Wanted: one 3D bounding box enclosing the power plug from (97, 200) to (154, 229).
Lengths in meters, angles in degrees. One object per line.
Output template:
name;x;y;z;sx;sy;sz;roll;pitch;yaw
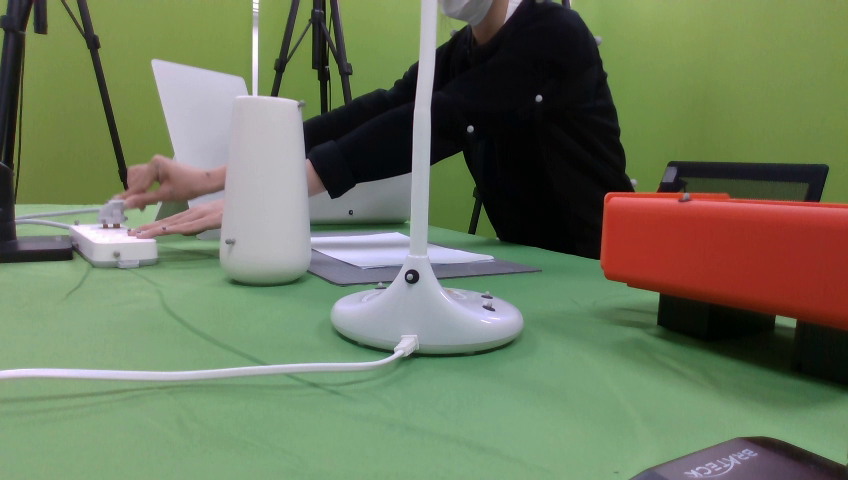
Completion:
power plug;-0.416;-0.029;0.846;0.073;0.052;0.035;-4;12;-26

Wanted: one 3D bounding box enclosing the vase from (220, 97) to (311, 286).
vase;-0.172;-0.052;0.662;0.098;0.200;0.098;3;9;0

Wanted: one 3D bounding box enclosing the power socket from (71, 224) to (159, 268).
power socket;-0.409;0.004;0.792;0.072;0.032;0.225;-2;8;-37

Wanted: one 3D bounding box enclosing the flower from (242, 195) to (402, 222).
flower;-0.231;-0.064;1.372;0.362;0.038;0.044;6;40;-2

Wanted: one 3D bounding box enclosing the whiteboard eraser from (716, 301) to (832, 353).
whiteboard eraser;0.256;0.042;0.472;0.112;0.042;0.056;43;19;31

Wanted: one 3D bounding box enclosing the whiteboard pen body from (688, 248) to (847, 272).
whiteboard pen body;0.304;0.016;0.521;0.140;0.017;0.017;2;7;27

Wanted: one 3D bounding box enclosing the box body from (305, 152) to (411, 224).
box body;-0.230;-0.126;1.372;0.366;0.160;0.253;-2;8;-33

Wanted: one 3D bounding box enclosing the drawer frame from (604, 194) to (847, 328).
drawer frame;0.298;0.007;0.497;0.203;0.082;0.212;-1;7;-34

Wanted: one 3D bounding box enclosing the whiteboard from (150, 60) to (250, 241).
whiteboard;-0.408;-0.139;1.093;0.143;0.305;0.218;-15;-1;26

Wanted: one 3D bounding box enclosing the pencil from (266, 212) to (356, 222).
pencil;-0.244;-0.049;1.319;0.195;0.012;0.012;4;7;-12

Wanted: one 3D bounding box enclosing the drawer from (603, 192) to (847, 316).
drawer;0.293;0.002;0.500;0.195;0.073;0.210;-1;8;-33

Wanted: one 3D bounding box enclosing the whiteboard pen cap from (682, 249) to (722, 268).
whiteboard pen cap;0.250;0.017;0.544;0.033;0.018;0.018;2;7;25

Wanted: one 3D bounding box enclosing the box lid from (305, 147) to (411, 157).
box lid;-0.229;-0.200;1.361;0.373;0.015;0.262;-2;9;-33

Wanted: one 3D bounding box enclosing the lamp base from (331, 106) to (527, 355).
lamp base;0.006;-0.012;0.478;0.161;0.180;0.179;2;10;2
